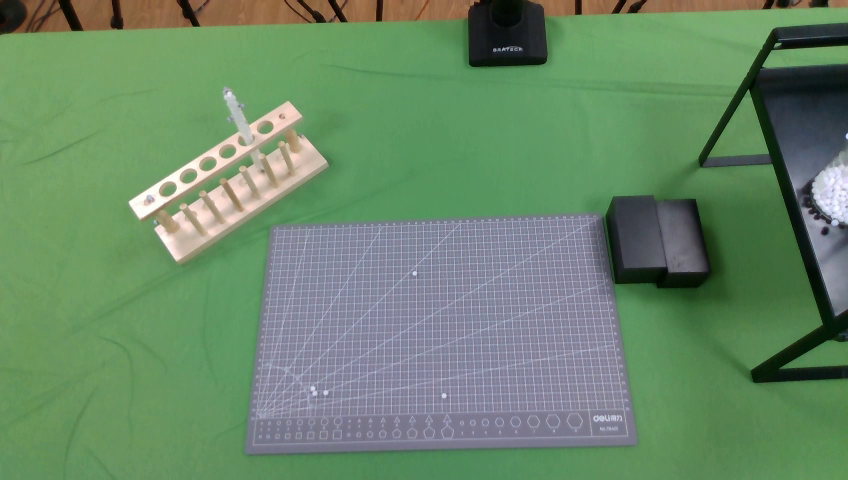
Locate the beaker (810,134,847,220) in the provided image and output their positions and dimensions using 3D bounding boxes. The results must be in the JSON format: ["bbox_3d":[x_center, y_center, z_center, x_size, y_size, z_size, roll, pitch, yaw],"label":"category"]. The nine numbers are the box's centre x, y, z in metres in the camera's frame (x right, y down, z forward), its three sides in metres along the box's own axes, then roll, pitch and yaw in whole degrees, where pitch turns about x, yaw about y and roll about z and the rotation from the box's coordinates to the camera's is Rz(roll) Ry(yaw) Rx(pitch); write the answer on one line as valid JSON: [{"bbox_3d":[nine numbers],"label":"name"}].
[{"bbox_3d":[0.415,-0.071,0.561,0.074,0.101,0.083,-6,64,1],"label":"beaker"}]

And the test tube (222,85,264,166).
[{"bbox_3d":[-0.232,-0.144,0.789,0.017,0.151,0.017,-1,61,2],"label":"test tube"}]

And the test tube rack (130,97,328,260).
[{"bbox_3d":[-0.255,-0.082,0.816,0.242,0.086,0.066,-37,68,-13],"label":"test tube rack"}]
